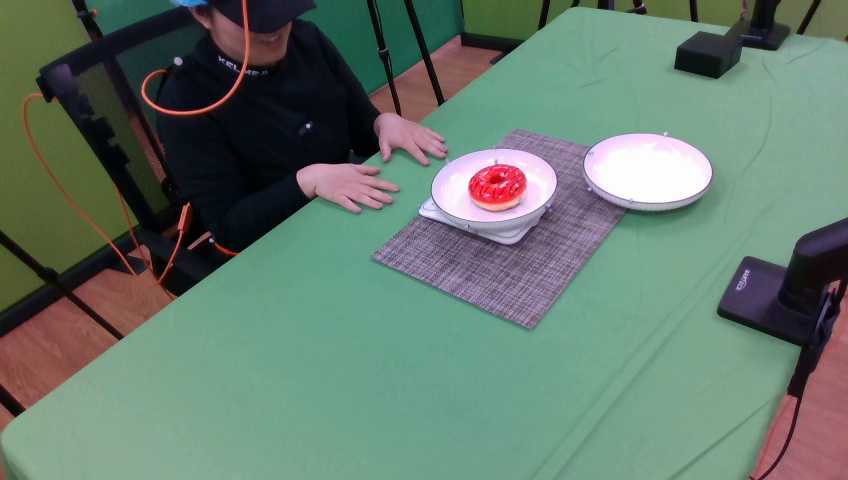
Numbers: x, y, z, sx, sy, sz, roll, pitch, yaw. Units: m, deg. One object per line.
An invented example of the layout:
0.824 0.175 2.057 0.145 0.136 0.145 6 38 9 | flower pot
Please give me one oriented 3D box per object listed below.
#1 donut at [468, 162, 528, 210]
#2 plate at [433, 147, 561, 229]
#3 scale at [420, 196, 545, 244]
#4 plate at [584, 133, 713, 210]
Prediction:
0.121 -0.088 0.985 0.099 0.048 0.098 -7 42 7 | donut
0.120 -0.082 0.997 0.207 0.039 0.206 -6 40 5 | plate
0.106 -0.064 1.029 0.199 0.032 0.149 21 48 32 | scale
0.379 -0.113 1.030 0.209 0.038 0.208 -4 41 4 | plate
